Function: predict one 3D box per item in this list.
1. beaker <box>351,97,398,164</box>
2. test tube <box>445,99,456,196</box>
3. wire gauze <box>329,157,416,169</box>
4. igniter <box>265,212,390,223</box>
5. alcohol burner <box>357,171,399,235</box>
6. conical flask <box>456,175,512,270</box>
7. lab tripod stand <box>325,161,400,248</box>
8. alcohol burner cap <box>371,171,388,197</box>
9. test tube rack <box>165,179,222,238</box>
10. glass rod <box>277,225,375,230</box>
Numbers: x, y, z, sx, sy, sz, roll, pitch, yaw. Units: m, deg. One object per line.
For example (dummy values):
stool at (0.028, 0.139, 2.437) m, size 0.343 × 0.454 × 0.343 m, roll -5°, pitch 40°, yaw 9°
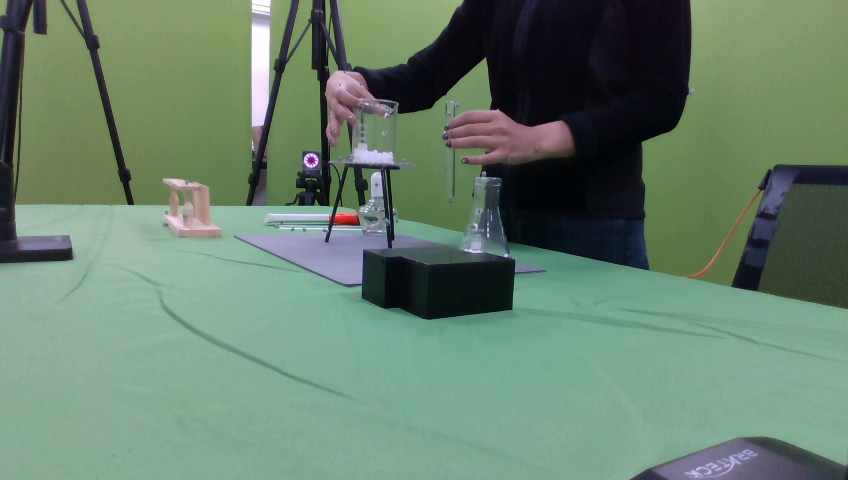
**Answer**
beaker at (-0.078, -0.173, 0.966) m, size 0.073 × 0.100 × 0.084 m, roll 10°, pitch 10°, yaw 39°
test tube at (0.041, -0.143, 0.937) m, size 0.017 × 0.150 × 0.017 m, roll 0°, pitch 5°, yaw 0°
wire gauze at (-0.079, -0.125, 0.972) m, size 0.121 × 0.011 × 0.125 m, roll 5°, pitch 6°, yaw 5°
igniter at (-0.196, -0.048, 1.285) m, size 0.278 × 0.025 × 0.057 m, roll -2°, pitch -2°, yaw -30°
alcohol burner at (-0.085, -0.069, 1.125) m, size 0.078 × 0.119 × 0.078 m, roll 3°, pitch 10°, yaw 0°
conical flask at (0.082, -0.025, 0.801) m, size 0.075 × 0.122 × 0.075 m, roll 2°, pitch 7°, yaw 0°
lab tripod stand at (-0.083, -0.059, 0.977) m, size 0.148 × 0.131 × 0.148 m, roll 4°, pitch 8°, yaw 0°
alcohol burner cap at (-0.085, -0.104, 1.121) m, size 0.034 × 0.048 × 0.034 m, roll -5°, pitch 8°, yaw 1°
test tube rack at (-0.423, -0.062, 1.098) m, size 0.067 × 0.085 × 0.241 m, roll -2°, pitch 9°, yaw -28°
glass rod at (-0.187, -0.024, 1.178) m, size 0.201 × 0.008 × 0.008 m, roll 1°, pitch 6°, yaw -31°
